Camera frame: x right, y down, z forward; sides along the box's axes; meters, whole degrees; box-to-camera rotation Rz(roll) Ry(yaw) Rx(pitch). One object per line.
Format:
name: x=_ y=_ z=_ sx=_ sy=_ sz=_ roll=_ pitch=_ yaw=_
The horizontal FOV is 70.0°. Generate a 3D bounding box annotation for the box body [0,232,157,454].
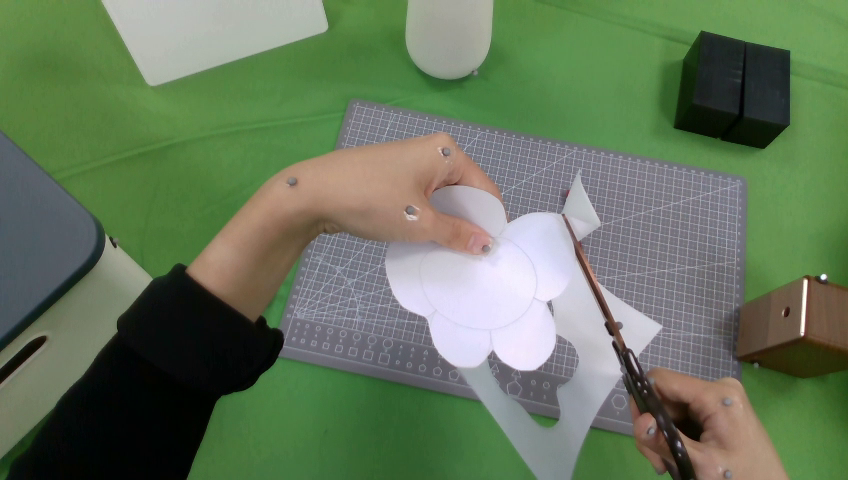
box body: x=-0.456 y=0.008 z=0.527 sx=0.362 sy=0.161 sz=0.253 roll=38 pitch=73 yaw=11

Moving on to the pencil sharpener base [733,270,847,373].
pencil sharpener base: x=0.349 y=0.079 z=0.557 sx=0.077 sy=0.107 sz=0.061 roll=16 pitch=69 yaw=1

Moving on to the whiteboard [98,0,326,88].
whiteboard: x=-0.256 y=-0.354 z=0.626 sx=0.217 sy=0.308 sz=0.142 roll=-21 pitch=52 yaw=-9

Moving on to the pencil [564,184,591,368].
pencil: x=0.158 y=0.033 z=0.619 sx=0.012 sy=0.012 sz=0.192 roll=-1 pitch=71 yaw=-2

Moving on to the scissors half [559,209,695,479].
scissors half: x=0.115 y=0.061 z=0.349 sx=0.013 sy=0.040 sz=0.175 roll=-24 pitch=86 yaw=0

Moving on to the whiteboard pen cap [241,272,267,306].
whiteboard pen cap: x=-0.166 y=0.048 z=0.597 sx=0.018 sy=0.018 sz=0.033 roll=18 pitch=65 yaw=5

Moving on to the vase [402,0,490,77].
vase: x=0.025 y=-0.261 z=0.625 sx=0.098 sy=0.201 sz=0.097 roll=0 pitch=68 yaw=0

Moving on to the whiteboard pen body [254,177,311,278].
whiteboard pen body: x=-0.148 y=-0.004 z=0.619 sx=0.017 sy=0.017 sz=0.140 roll=18 pitch=68 yaw=5

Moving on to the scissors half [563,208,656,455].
scissors half: x=0.116 y=0.058 z=0.370 sx=0.013 sy=0.040 sz=0.176 roll=-23 pitch=109 yaw=5

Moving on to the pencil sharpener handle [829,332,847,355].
pencil sharpener handle: x=0.399 y=0.090 z=0.545 sx=0.030 sy=0.068 sz=0.036 roll=16 pitch=64 yaw=1

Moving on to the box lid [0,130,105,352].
box lid: x=-0.456 y=-0.020 z=0.458 sx=0.370 sy=0.015 sz=0.263 roll=38 pitch=72 yaw=11

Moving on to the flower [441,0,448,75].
flower: x=0.022 y=-0.305 z=0.553 sx=0.044 sy=0.365 sz=0.038 roll=5 pitch=51 yaw=4
